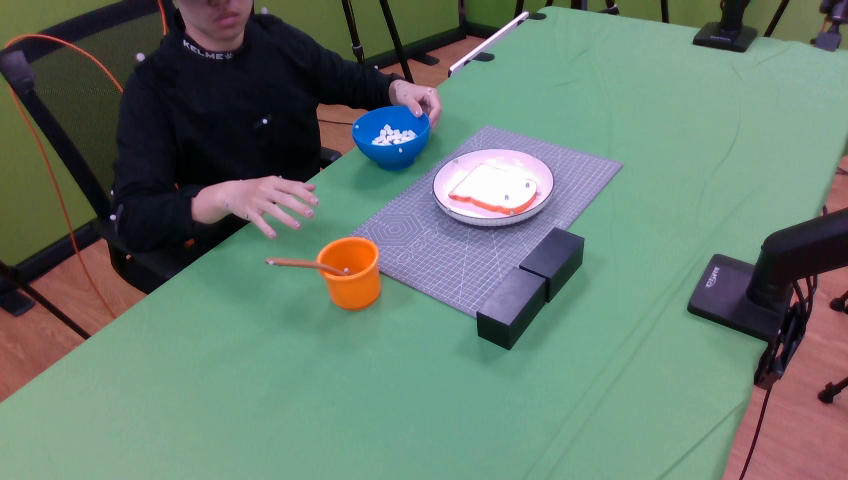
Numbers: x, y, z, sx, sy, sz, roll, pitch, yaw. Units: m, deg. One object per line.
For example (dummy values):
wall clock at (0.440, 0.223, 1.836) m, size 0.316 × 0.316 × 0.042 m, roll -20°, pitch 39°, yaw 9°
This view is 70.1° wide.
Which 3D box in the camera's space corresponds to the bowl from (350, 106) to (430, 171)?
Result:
bowl at (-0.059, -0.185, 1.151) m, size 0.151 × 0.077 × 0.150 m, roll -4°, pitch 40°, yaw 4°

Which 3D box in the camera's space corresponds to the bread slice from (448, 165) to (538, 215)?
bread slice at (0.126, -0.085, 1.038) m, size 0.133 × 0.018 × 0.107 m, roll 16°, pitch 45°, yaw 27°

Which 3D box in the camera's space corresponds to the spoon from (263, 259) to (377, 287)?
spoon at (-0.140, 0.042, 0.843) m, size 0.041 × 0.195 × 0.021 m, roll 35°, pitch 100°, yaw 42°

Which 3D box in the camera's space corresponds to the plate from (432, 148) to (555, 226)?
plate at (0.119, -0.087, 1.037) m, size 0.209 × 0.038 × 0.208 m, roll -4°, pitch 40°, yaw 4°
